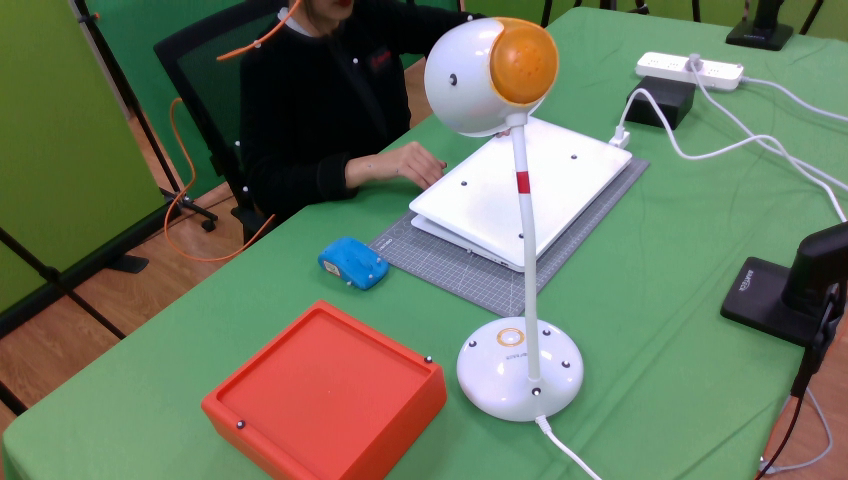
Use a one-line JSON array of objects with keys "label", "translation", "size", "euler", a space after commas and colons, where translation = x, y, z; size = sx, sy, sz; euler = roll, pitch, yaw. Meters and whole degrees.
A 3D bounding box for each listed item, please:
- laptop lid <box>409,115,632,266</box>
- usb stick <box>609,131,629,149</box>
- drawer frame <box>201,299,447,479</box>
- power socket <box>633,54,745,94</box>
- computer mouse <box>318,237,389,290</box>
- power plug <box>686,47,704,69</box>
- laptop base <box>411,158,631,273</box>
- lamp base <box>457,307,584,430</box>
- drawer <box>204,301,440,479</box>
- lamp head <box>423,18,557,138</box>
[{"label": "laptop lid", "translation": [0.172, -0.104, 1.037], "size": [0.240, 0.013, 0.358], "euler": [30, 53, 30]}, {"label": "usb stick", "translation": [0.354, -0.174, 1.109], "size": [0.021, 0.027, 0.059], "euler": [24, 51, 31]}, {"label": "drawer frame", "translation": [-0.117, 0.192, 0.733], "size": [0.212, 0.083, 0.202], "euler": [22, 48, 31]}, {"label": "power socket", "translation": [0.563, -0.358, 1.295], "size": [0.225, 0.033, 0.072], "euler": [21, 50, 30]}, {"label": "computer mouse", "translation": [-0.113, 0.033, 0.959], "size": [0.116, 0.041, 0.063], "euler": [28, 51, 31]}, {"label": "power plug", "translation": [0.564, -0.384, 1.247], "size": [0.035, 0.073, 0.052], "euler": [22, 71, 15]}, {"label": "laptop base", "translation": [0.175, -0.082, 1.055], "size": [0.233, 0.023, 0.355], "euler": [22, 49, 36]}, {"label": "lamp base", "translation": [0.115, 0.108, 0.713], "size": [0.161, 0.181, 0.178], "euler": [-16, 42, -8]}, {"label": "drawer", "translation": [-0.120, 0.193, 0.735], "size": [0.210, 0.073, 0.195], "euler": [23, 49, 32]}, {"label": "lamp head", "translation": [0.069, -0.151, 0.563], "size": [0.113, 0.113, 0.122], "euler": [-21, 18, -14]}]
